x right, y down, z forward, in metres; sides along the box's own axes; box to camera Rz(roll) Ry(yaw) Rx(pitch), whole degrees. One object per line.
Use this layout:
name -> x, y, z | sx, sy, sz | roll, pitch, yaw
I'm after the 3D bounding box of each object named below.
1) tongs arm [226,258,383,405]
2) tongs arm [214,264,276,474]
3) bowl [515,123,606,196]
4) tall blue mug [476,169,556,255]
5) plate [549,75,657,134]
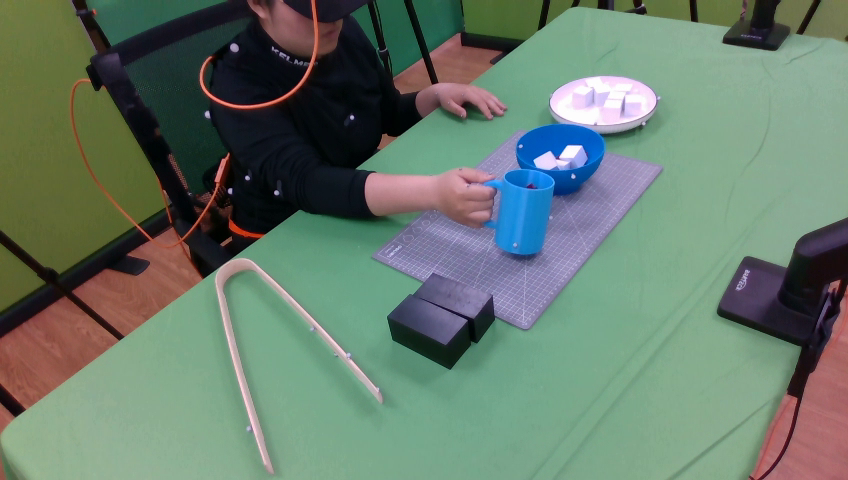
tongs arm -> -0.185, 0.121, 0.863 | 0.051, 0.027, 0.381 | -34, 45, -20
tongs arm -> -0.252, 0.158, 0.837 | 0.028, 0.028, 0.384 | -27, 43, -8
bowl -> 0.235, -0.131, 1.045 | 0.151, 0.077, 0.150 | -5, 40, 5
tall blue mug -> 0.134, -0.043, 0.901 | 0.107, 0.108, 0.077 | 1, 31, -5
plate -> 0.357, -0.268, 1.220 | 0.209, 0.038, 0.208 | -5, 41, 5
